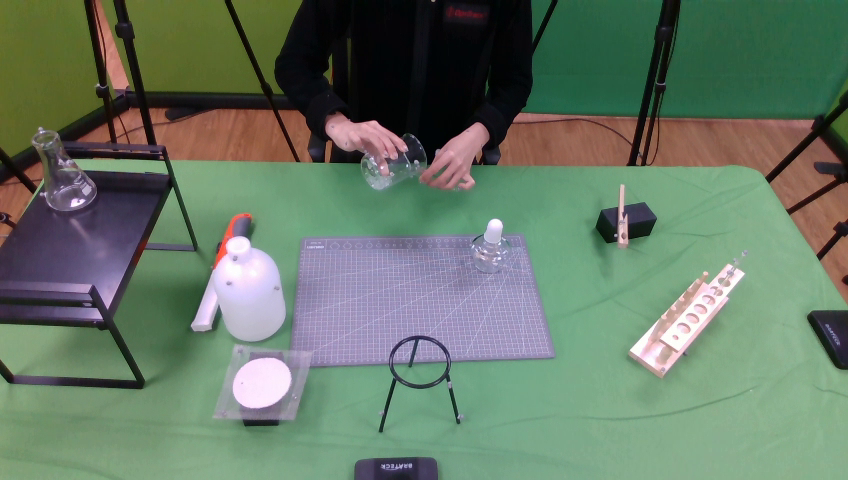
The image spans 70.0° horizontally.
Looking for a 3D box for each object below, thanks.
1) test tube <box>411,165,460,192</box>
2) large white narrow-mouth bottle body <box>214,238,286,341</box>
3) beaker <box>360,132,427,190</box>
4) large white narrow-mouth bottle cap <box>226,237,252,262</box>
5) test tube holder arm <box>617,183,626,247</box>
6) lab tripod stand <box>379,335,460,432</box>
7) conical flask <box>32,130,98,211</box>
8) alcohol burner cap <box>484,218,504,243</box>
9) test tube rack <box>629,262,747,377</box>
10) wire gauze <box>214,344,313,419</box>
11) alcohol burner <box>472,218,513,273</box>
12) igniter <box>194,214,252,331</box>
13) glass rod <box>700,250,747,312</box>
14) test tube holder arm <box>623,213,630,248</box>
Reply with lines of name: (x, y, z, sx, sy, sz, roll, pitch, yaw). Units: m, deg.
test tube: (0.025, -0.119, 1.185, 0.151, 0.017, 0.017, 16, 26, -51)
large white narrow-mouth bottle body: (-0.285, 0.073, 0.986, 0.102, 0.195, 0.101, 2, 46, -2)
beaker: (-0.056, -0.137, 1.080, 0.100, 0.084, 0.073, -29, 55, -25)
large white narrow-mouth bottle cap: (-0.282, 0.014, 0.923, 0.038, 0.024, 0.037, 2, 46, -2)
test tube holder arm: (0.395, -0.054, 1.210, 0.013, 0.015, 0.177, 15, 47, -1)
lab tripod stand: (-0.011, 0.214, 0.911, 0.148, 0.132, 0.147, 1, 45, 0)
conical flask: (-0.565, -0.110, 0.944, 0.075, 0.122, 0.075, 2, 46, -2)
alcohol burner cap: (0.130, -0.021, 1.106, 0.034, 0.048, 0.033, 3, 51, -4)
test tube rack: (0.464, 0.126, 1.060, 0.242, 0.085, 0.066, -34, 56, -31)
wire gauze: (-0.241, 0.213, 0.916, 0.121, 0.011, 0.124, 5, 46, 1)
alcohol burner: (0.129, 0.005, 1.132, 0.078, 0.120, 0.077, 0, 47, 0)
igniter: (-0.367, 0.050, 1.119, 0.057, 0.025, 0.275, -4, 46, 7)
glass rod: (0.500, 0.075, 1.021, 0.008, 0.201, 0.008, 0, 54, 0)
test tube holder arm: (0.392, -0.020, 1.180, 0.010, 0.015, 0.087, 15, 47, -1)
